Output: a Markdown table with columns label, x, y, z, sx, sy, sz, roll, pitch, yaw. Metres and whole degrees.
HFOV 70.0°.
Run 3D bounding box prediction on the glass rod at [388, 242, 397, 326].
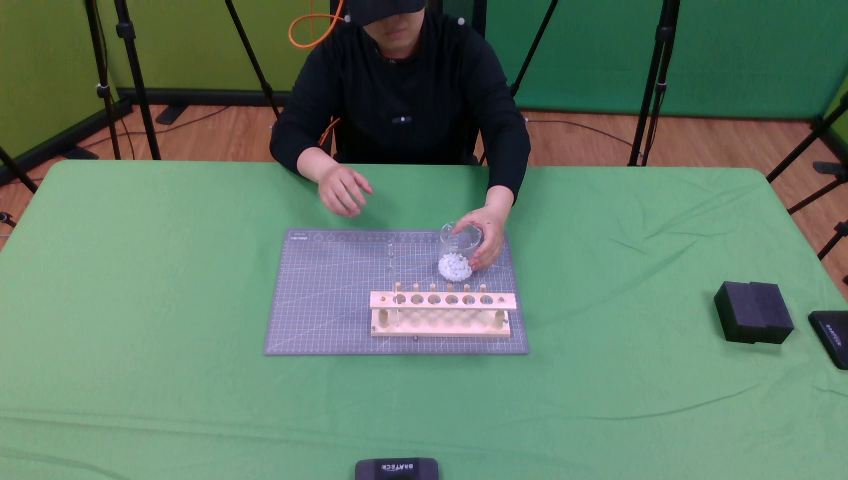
| label | x | y | z | sx | sy | sz | roll | pitch | yaw |
| --- | --- | --- | --- | --- | --- | --- | --- | --- | --- |
| glass rod | -0.051 | 0.076 | 0.981 | 0.008 | 0.201 | 0.008 | 0 | 44 | 1 |

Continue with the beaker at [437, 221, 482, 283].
| label | x | y | z | sx | sy | sz | roll | pitch | yaw |
| --- | --- | --- | --- | --- | --- | --- | --- | --- | --- |
| beaker | 0.064 | 0.024 | 1.124 | 0.084 | 0.101 | 0.073 | -14 | 49 | -17 |

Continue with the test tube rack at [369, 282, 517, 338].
| label | x | y | z | sx | sy | sz | roll | pitch | yaw |
| --- | --- | --- | --- | --- | --- | --- | --- | --- | --- |
| test tube rack | 0.030 | 0.116 | 1.041 | 0.242 | 0.085 | 0.066 | 1 | 46 | -3 |
